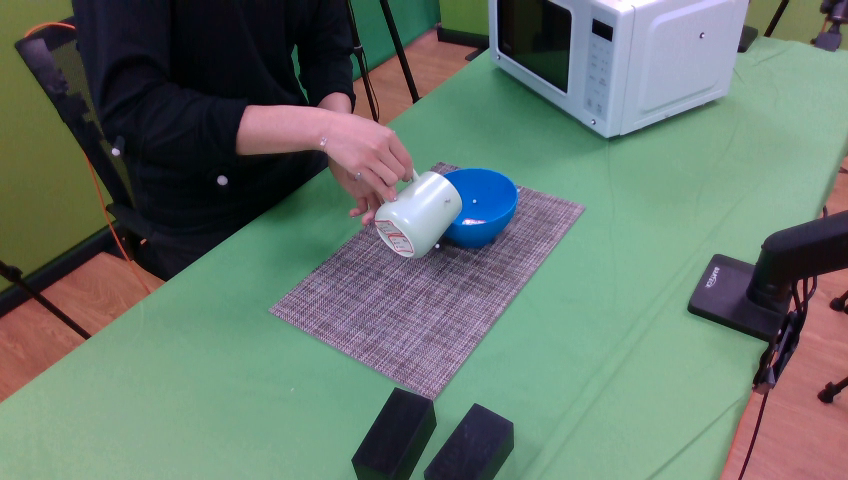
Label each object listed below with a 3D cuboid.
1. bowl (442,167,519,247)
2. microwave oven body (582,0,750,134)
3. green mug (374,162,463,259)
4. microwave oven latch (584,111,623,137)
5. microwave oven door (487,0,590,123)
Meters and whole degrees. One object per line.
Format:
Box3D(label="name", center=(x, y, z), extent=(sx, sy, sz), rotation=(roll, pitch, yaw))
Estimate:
Box3D(label="bowl", center=(0.076, -0.042, 0.959), extent=(0.151, 0.077, 0.150), rotation=(-4, 40, 4))
Box3D(label="microwave oven body", center=(0.382, -0.445, 1.246), extent=(0.327, 0.261, 0.437), rotation=(-22, 42, -16))
Box3D(label="green mug", center=(-0.017, -0.048, 0.844), extent=(0.105, 0.126, 0.092), rotation=(-46, 23, -24))
Box3D(label="microwave oven latch", center=(0.337, -0.222, 1.142), extent=(0.030, 0.029, 0.078), rotation=(-21, 42, -14))
Box3D(label="microwave oven door", center=(0.232, -0.420, 1.231), extent=(0.039, 0.245, 0.352), rotation=(-22, 43, -16))
